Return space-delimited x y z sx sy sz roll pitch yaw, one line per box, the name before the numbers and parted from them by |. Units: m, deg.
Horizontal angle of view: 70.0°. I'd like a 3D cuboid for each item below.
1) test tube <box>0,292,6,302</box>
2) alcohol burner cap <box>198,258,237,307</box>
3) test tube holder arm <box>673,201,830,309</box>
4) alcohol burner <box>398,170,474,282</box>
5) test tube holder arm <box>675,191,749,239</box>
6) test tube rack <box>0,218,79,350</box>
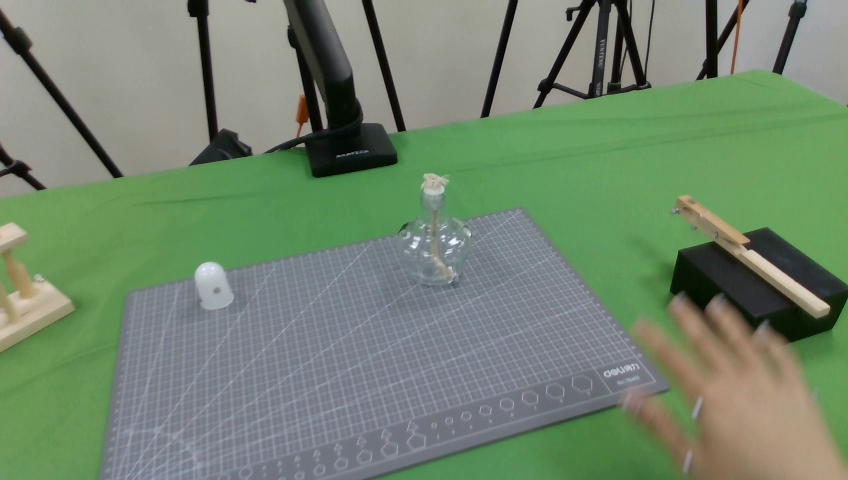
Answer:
test tube | -0.428 -0.003 0.569 0.017 0.151 0.017 -5 32 3
alcohol burner cap | -0.210 0.040 0.608 0.034 0.048 0.033 -3 36 2
test tube holder arm | 0.290 0.006 0.552 0.015 0.013 0.176 -13 36 -14
alcohol burner | 0.011 -0.018 0.607 0.078 0.120 0.077 -1 36 1
test tube holder arm | 0.276 -0.022 0.584 0.015 0.010 0.087 -13 37 -14
test tube rack | -0.458 0.080 0.542 0.066 0.086 0.242 24 44 32
